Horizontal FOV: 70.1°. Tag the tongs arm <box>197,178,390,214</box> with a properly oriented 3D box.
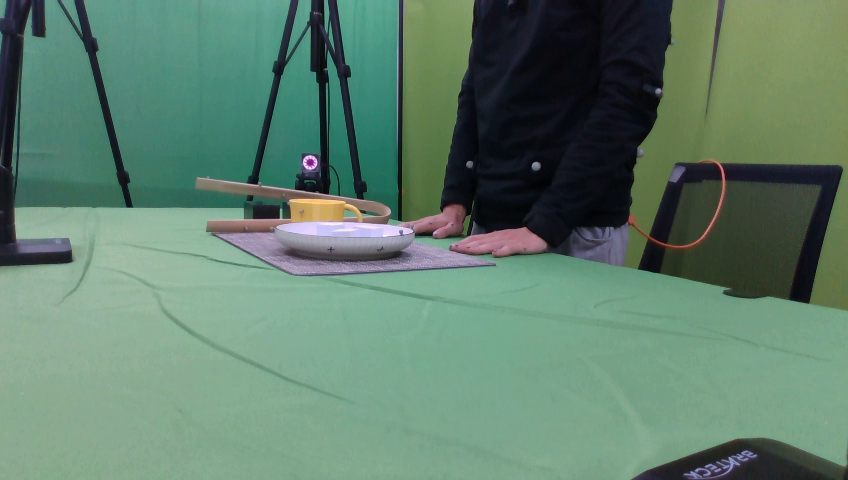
[{"bbox_3d":[-0.256,-0.083,1.230,0.387,0.026,0.050,5,30,-26],"label":"tongs arm"}]

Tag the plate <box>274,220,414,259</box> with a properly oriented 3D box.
[{"bbox_3d":[-0.118,-0.001,0.902,0.208,0.039,0.207,3,7,0],"label":"plate"}]

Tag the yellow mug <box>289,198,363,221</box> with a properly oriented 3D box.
[{"bbox_3d":[-0.174,-0.039,1.071,0.131,0.064,0.100,3,6,0],"label":"yellow mug"}]

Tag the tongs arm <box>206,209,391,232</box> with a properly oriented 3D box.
[{"bbox_3d":[-0.224,-0.037,1.170,0.390,0.028,0.028,-4,31,-36],"label":"tongs arm"}]
